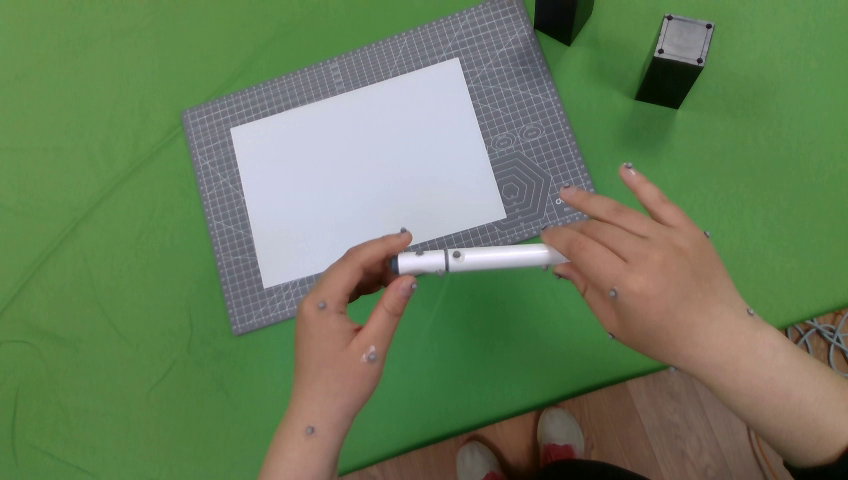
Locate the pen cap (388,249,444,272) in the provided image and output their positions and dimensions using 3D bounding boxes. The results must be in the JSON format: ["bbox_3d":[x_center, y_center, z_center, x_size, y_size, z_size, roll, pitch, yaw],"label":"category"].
[{"bbox_3d":[-0.005,0.013,0.411,0.038,0.017,0.017,-4,78,-3],"label":"pen cap"}]

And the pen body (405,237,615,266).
[{"bbox_3d":[0.059,0.008,0.417,0.144,0.017,0.017,2,79,-4],"label":"pen body"}]
